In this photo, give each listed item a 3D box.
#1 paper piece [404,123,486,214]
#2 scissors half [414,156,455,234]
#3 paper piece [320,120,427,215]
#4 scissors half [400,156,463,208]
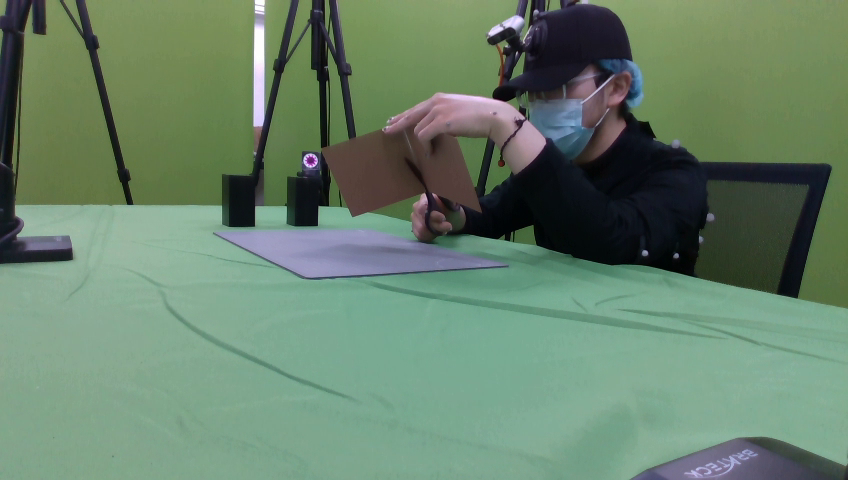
[{"bbox_3d":[0.031,-0.111,0.921,0.008,0.136,0.137,-41,39,-19],"label":"paper piece"},{"bbox_3d":[0.007,-0.082,1.007,0.012,0.175,0.040,-8,30,38],"label":"scissors half"},{"bbox_3d":[-0.079,-0.114,0.977,0.136,0.135,0.004,-18,32,5],"label":"paper piece"},{"bbox_3d":[0.014,-0.100,1.020,0.013,0.040,0.176,-13,-27,35],"label":"scissors half"}]
